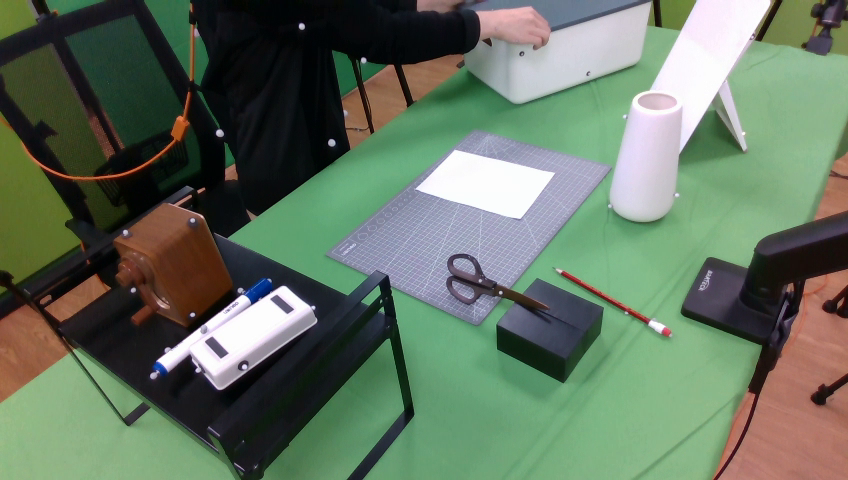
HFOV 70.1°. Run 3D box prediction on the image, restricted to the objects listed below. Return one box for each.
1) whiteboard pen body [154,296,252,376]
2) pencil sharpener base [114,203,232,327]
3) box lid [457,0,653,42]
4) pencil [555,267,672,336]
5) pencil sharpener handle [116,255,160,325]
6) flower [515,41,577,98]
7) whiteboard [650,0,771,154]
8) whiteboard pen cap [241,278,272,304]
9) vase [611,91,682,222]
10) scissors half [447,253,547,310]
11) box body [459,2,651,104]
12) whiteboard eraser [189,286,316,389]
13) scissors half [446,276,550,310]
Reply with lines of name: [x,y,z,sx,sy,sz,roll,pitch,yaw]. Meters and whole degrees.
whiteboard pen body: [-0.215,0.088,0.619,0.017,0.017,0.141,19,42,28]
pencil sharpener base: [-0.262,0.029,0.635,0.061,0.107,0.077,18,47,26]
box lid: [0.285,-0.521,1.324,0.373,0.015,0.261,-22,43,-16]
pencil: [0.260,0.082,0.850,0.012,0.012,0.192,-33,46,-27]
pencil sharpener handle: [-0.286,0.050,0.594,0.035,0.068,0.031,7,41,35]
flower: [0.298,-0.410,1.413,0.044,0.038,0.362,-16,22,41]
whiteboard: [0.543,-0.298,1.076,0.144,0.305,0.216,12,40,-7]
whiteboard pen cap: [-0.184,0.057,0.658,0.018,0.018,0.033,19,44,28]
vase: [0.348,-0.125,0.935,0.098,0.201,0.097,-3,40,3]
scissors half: [0.098,0.058,0.821,0.173,0.040,0.013,27,34,36]
box body: [0.291,-0.465,1.371,0.365,0.161,0.252,-22,42,-16]
whiteboard eraser: [-0.166,0.096,0.593,0.113,0.042,0.055,-36,46,-29]
scissors half: [0.098,0.077,0.827,0.174,0.040,0.013,6,14,44]
